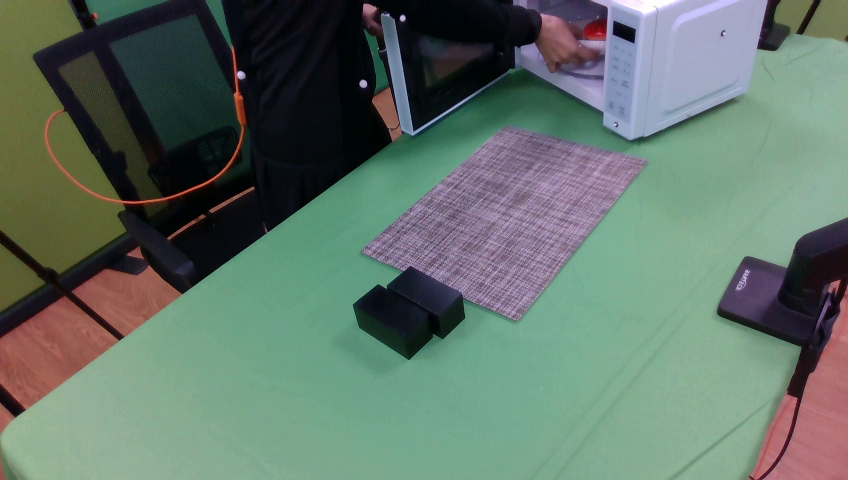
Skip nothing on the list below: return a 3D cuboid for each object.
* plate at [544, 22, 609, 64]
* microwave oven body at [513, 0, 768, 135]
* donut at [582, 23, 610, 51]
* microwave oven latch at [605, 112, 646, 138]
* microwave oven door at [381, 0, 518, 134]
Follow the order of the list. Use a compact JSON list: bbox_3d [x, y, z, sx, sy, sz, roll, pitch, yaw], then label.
[{"bbox_3d":[0.362,-0.421,1.296,0.209,0.038,0.208,-2,35,2],"label":"plate"},{"bbox_3d":[0.410,-0.441,1.235,0.327,0.261,0.437,-25,42,-16],"label":"microwave oven body"},{"bbox_3d":[0.388,-0.429,1.293,0.099,0.048,0.098,1,43,-1],"label":"donut"},{"bbox_3d":[0.375,-0.217,1.130,0.030,0.029,0.078,-24,42,-16],"label":"microwave oven latch"},{"bbox_3d":[0.068,-0.408,1.254,0.039,0.245,0.357,28,52,36],"label":"microwave oven door"}]
